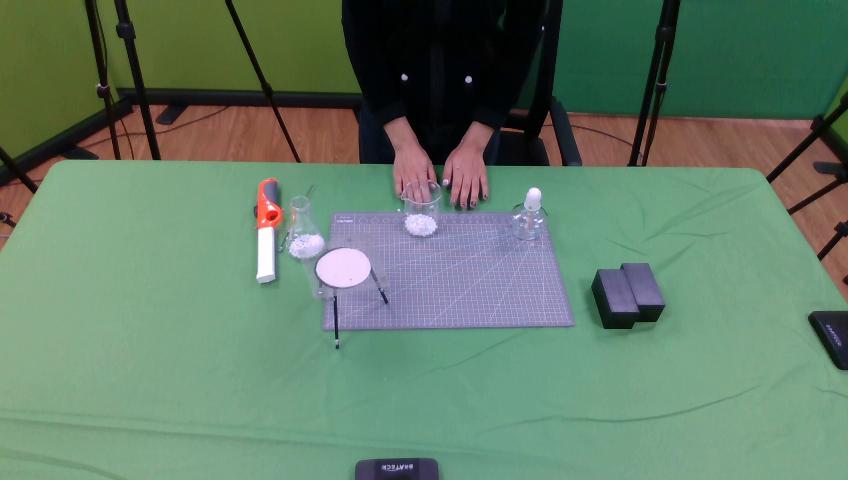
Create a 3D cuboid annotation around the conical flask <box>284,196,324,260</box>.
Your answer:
[{"bbox_3d":[-0.230,-0.026,1.137,0.075,0.122,0.075,2,45,-2],"label":"conical flask"}]

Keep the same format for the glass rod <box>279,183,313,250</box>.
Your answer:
[{"bbox_3d":[-0.260,-0.052,1.239,0.008,0.008,0.198,10,47,6],"label":"glass rod"}]

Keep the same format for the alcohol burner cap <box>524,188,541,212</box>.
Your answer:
[{"bbox_3d":[0.212,-0.081,1.177,0.034,0.048,0.033,-2,54,2],"label":"alcohol burner cap"}]

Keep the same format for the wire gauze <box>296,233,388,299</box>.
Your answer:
[{"bbox_3d":[-0.133,0.041,0.977,0.125,0.011,0.120,-12,47,-16],"label":"wire gauze"}]

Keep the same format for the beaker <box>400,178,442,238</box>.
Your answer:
[{"bbox_3d":[-0.009,-0.059,1.200,0.084,0.101,0.073,-14,48,-17],"label":"beaker"}]

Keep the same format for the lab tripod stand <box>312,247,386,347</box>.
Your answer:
[{"bbox_3d":[-0.134,0.085,1.028,0.148,0.132,0.147,2,45,-1],"label":"lab tripod stand"}]

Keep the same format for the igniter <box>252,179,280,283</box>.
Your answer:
[{"bbox_3d":[-0.312,-0.027,1.197,0.057,0.025,0.274,-12,47,-1],"label":"igniter"}]

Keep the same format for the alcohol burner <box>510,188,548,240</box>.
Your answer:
[{"bbox_3d":[0.211,-0.057,1.204,0.078,0.120,0.077,1,47,-1],"label":"alcohol burner"}]
